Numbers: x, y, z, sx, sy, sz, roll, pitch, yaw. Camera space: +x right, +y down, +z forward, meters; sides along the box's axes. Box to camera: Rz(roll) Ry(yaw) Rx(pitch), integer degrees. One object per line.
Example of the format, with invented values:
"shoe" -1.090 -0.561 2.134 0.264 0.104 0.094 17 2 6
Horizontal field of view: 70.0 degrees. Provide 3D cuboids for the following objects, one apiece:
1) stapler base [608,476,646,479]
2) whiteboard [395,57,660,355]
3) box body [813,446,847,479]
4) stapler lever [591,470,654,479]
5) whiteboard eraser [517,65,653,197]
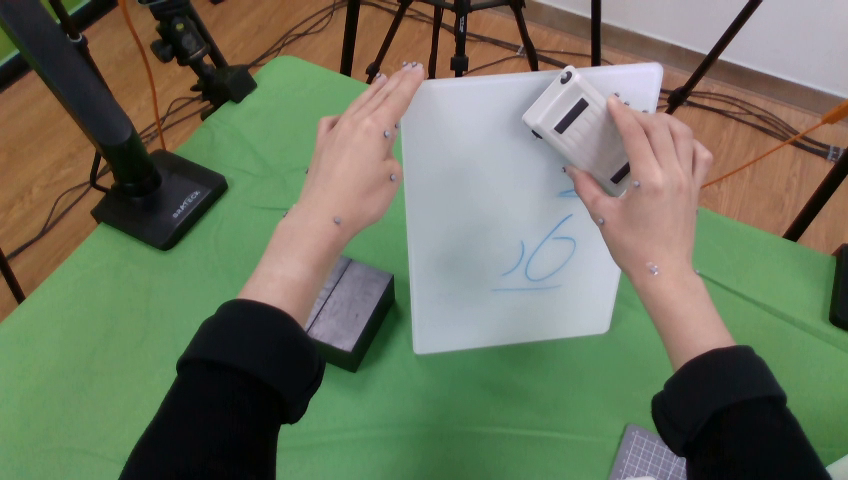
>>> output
"stapler base" 0.149 0.240 0.553 0.130 0.024 0.041 -7 52 -3
"whiteboard" 0.080 -0.051 0.618 0.217 0.308 0.142 -5 37 -5
"box body" 0.530 0.282 0.455 0.254 0.162 0.360 -16 58 -13
"stapler lever" 0.147 0.226 0.533 0.118 0.040 0.026 -7 51 -3
"whiteboard eraser" 0.131 -0.087 0.494 0.114 0.055 0.041 33 23 -29
